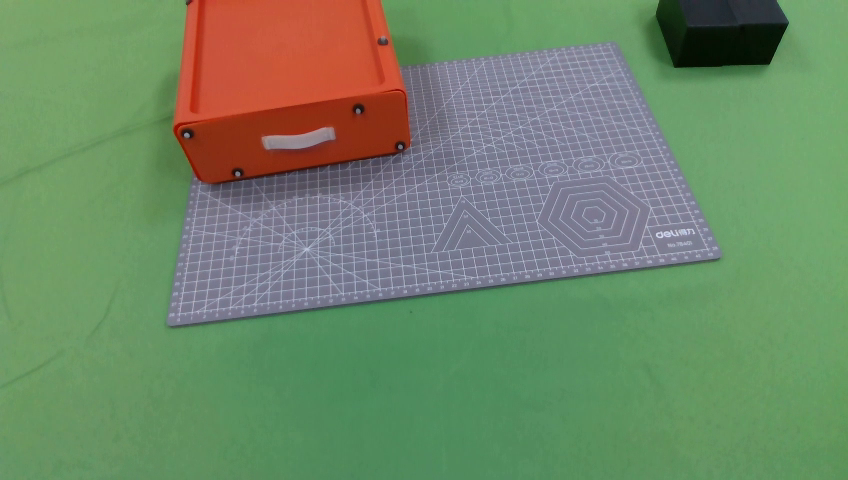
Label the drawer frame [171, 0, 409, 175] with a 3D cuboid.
[{"bbox_3d":[-0.132,-0.176,0.601,0.202,0.083,0.211,-11,53,-5],"label":"drawer frame"}]

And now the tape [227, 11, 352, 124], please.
[{"bbox_3d":[-0.132,-0.174,0.607,0.117,0.053,0.115,-1,55,2],"label":"tape"}]

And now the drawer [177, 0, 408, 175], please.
[{"bbox_3d":[-0.130,-0.173,0.599,0.195,0.074,0.209,-11,53,-4],"label":"drawer"}]
